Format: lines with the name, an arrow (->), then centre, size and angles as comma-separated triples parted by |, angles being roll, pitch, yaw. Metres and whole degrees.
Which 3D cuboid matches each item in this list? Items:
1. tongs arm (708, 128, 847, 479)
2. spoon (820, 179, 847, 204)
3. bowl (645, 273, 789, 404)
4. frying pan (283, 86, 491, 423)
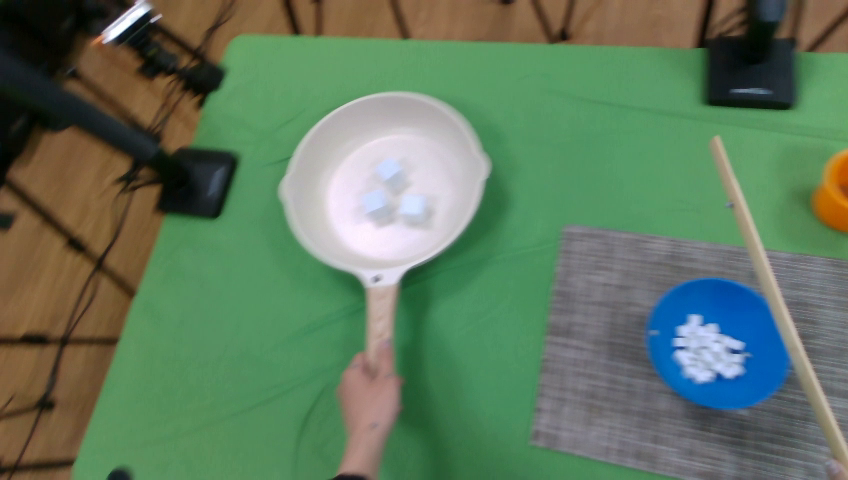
tongs arm -> 0.344, 0.071, 0.567 | 0.028, 0.028, 0.385 | -17, 78, 0
spoon -> 0.551, -0.048, 0.697 | 0.041, 0.192, 0.022 | -40, 109, -8
bowl -> 0.335, 0.121, 0.713 | 0.151, 0.077, 0.150 | -4, 68, 11
frying pan -> -0.055, 0.005, 0.835 | 0.306, 0.104, 0.483 | -5, 60, 12
